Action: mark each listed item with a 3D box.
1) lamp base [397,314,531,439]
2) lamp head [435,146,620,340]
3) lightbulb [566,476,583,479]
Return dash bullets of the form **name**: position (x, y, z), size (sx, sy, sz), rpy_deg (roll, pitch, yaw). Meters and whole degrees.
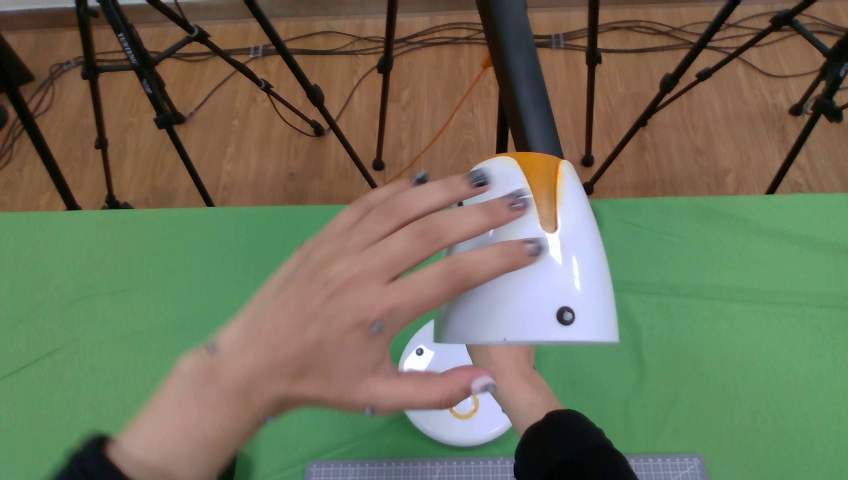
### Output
- **lamp base**: position (0.042, 0.110, 0.672), size (0.161, 0.182, 0.177), rpy_deg (-6, 57, 0)
- **lamp head**: position (0.061, 0.005, 0.380), size (0.112, 0.113, 0.122), rpy_deg (-2, 75, 2)
- **lightbulb**: position (0.194, 0.287, 0.636), size (0.106, 0.060, 0.059), rpy_deg (32, 65, 36)
